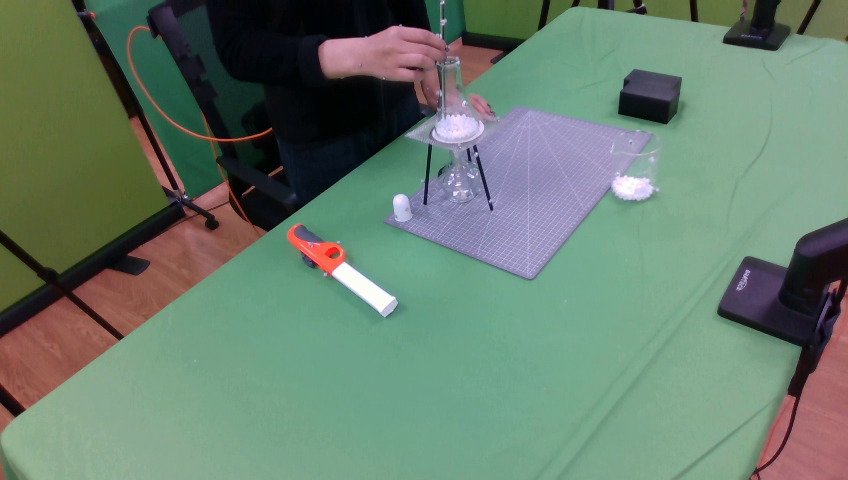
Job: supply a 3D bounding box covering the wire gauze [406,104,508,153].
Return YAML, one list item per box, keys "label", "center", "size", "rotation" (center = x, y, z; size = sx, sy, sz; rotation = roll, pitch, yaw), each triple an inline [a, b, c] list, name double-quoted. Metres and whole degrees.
- label: "wire gauze"
  center: [0.054, -0.183, 0.997]
  size: [0.120, 0.011, 0.125]
  rotation: [26, 53, 38]

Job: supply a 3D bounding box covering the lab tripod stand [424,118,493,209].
- label: "lab tripod stand"
  center: [0.061, -0.133, 1.039]
  size: [0.148, 0.132, 0.147]
  rotation: [-6, 38, 6]

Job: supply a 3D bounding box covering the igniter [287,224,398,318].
- label: "igniter"
  center: [-0.139, 0.042, 0.958]
  size: [0.057, 0.025, 0.274]
  rotation: [-42, 49, -19]

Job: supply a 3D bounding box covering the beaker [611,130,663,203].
- label: "beaker"
  center: [0.346, -0.118, 0.998]
  size: [0.084, 0.101, 0.073]
  rotation: [-17, 40, -7]

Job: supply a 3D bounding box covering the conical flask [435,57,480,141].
- label: "conical flask"
  center: [0.046, -0.225, 0.955]
  size: [0.075, 0.122, 0.075]
  rotation: [-7, 39, 6]

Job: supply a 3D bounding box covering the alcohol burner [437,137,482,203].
- label: "alcohol burner"
  center: [0.060, -0.125, 1.045]
  size: [0.078, 0.119, 0.077]
  rotation: [-5, 38, 4]

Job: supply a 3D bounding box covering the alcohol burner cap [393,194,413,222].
- label: "alcohol burner cap"
  center: [-0.039, -0.057, 1.038]
  size: [0.034, 0.048, 0.033]
  rotation: [-5, 40, 5]

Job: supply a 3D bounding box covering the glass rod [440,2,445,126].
- label: "glass rod"
  center: [0.029, -0.264, 0.930]
  size: [0.008, 0.200, 0.008]
  rotation: [-1, 41, 1]
